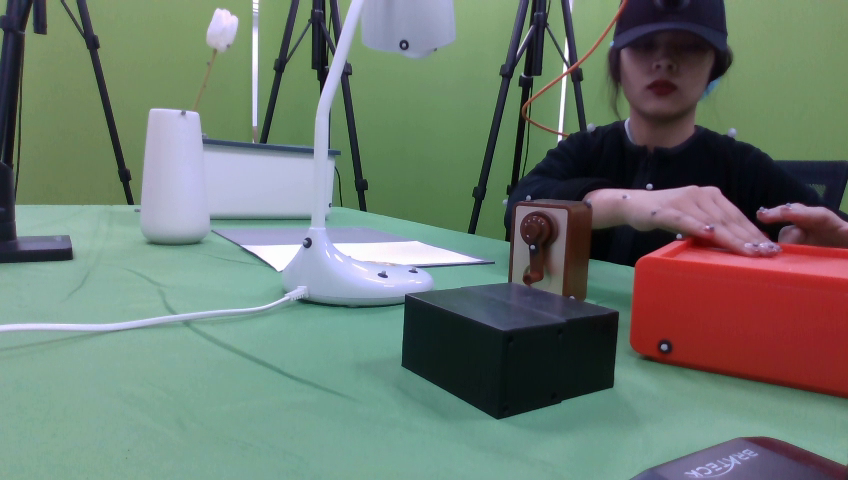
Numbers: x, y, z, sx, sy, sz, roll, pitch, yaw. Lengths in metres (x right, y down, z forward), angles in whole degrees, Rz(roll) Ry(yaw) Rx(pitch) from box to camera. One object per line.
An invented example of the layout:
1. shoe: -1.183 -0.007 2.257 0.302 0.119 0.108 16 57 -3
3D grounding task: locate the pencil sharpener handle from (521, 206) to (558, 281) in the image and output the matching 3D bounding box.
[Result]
1. pencil sharpener handle: 0.101 0.003 0.556 0.036 0.067 0.031 0 5 31

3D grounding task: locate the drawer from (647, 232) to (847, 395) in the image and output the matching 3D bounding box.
1. drawer: 0.305 0.052 0.500 0.193 0.073 0.212 7 14 30

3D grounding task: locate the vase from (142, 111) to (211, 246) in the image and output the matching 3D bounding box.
1. vase: -0.378 -0.093 0.920 0.098 0.200 0.098 2 9 0

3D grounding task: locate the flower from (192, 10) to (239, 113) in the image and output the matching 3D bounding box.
1. flower: -0.354 -0.174 0.915 0.038 0.361 0.044 18 -3 12

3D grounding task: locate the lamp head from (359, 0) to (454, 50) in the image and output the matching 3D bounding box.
1. lamp head: -0.024 -0.283 0.674 0.112 0.123 0.112 -3 38 3

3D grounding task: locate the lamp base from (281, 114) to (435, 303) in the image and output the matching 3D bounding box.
1. lamp base: -0.071 -0.035 0.614 0.160 0.180 0.180 6 10 27

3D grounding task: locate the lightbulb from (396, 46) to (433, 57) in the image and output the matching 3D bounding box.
1. lightbulb: -0.018 -0.265 0.692 0.059 0.108 0.059 -10 27 6

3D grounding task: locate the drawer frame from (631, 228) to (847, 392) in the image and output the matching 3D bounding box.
1. drawer frame: 0.293 0.044 0.485 0.201 0.082 0.214 7 9 30

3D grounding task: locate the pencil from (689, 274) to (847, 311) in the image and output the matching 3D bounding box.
1. pencil: 0.318 0.048 0.529 0.194 0.012 0.012 11 6 -11

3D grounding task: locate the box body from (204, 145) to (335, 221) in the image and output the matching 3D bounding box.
1. box body: -0.411 -0.135 1.386 0.366 0.160 0.253 -2 9 -29

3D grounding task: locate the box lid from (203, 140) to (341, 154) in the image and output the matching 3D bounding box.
1. box lid: -0.396 -0.212 1.373 0.373 0.015 0.262 -1 9 -29

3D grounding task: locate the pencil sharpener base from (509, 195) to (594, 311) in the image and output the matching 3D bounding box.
1. pencil sharpener base: 0.126 0.011 0.602 0.061 0.107 0.077 7 9 31
